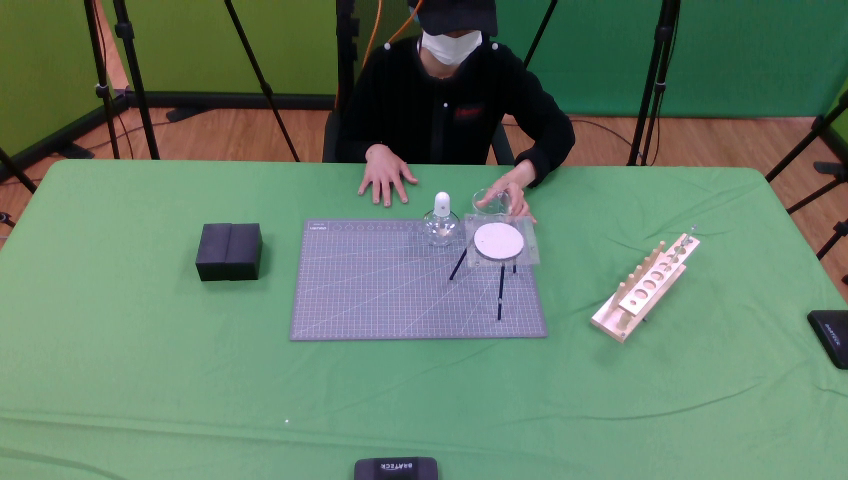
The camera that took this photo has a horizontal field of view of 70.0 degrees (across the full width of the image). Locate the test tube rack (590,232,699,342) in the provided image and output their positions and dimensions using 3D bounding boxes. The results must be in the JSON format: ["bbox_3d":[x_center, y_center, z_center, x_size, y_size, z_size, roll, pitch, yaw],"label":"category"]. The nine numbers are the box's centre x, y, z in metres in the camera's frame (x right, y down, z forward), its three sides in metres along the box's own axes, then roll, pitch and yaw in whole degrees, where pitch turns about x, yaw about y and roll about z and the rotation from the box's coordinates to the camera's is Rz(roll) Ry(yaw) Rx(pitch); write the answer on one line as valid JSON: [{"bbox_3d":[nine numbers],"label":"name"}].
[{"bbox_3d":[0.407,0.074,1.112,0.066,0.085,0.242,35,53,26],"label":"test tube rack"}]

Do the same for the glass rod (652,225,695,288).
[{"bbox_3d":[0.432,0.037,1.057,0.008,0.200,0.008,1,54,-1],"label":"glass rod"}]

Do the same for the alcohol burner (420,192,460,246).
[{"bbox_3d":[0.032,-0.046,1.176,0.078,0.120,0.077,1,44,-1],"label":"alcohol burner"}]

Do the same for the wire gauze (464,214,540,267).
[{"bbox_3d":[0.131,-0.002,1.034,0.121,0.011,0.124,1,45,-2],"label":"wire gauze"}]

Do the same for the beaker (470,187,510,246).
[{"bbox_3d":[0.131,-0.042,1.187,0.083,0.101,0.074,34,58,28],"label":"beaker"}]

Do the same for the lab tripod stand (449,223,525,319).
[{"bbox_3d":[0.120,0.046,1.080,0.148,0.132,0.147,1,47,-1],"label":"lab tripod stand"}]

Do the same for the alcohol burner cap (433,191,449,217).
[{"bbox_3d":[0.033,-0.070,1.150,0.034,0.048,0.033,0,45,0],"label":"alcohol burner cap"}]
